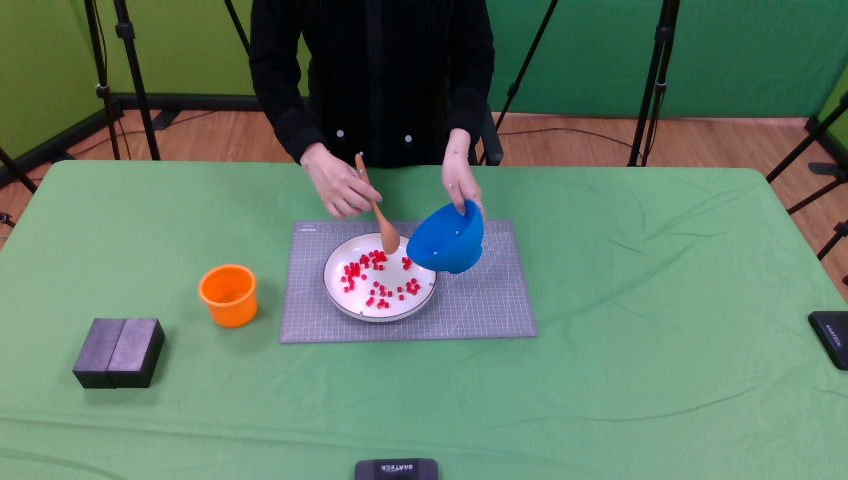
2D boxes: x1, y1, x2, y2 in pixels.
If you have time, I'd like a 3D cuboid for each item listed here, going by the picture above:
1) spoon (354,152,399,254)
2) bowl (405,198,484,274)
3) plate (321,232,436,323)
[{"bbox_3d":[-0.085,-0.060,1.040,0.041,0.194,0.021,-35,25,-29],"label":"spoon"},{"bbox_3d":[0.049,0.006,1.049,0.151,0.077,0.150,-32,24,17],"label":"bowl"},{"bbox_3d":[-0.083,0.070,1.109,0.209,0.038,0.208,3,46,-3],"label":"plate"}]
